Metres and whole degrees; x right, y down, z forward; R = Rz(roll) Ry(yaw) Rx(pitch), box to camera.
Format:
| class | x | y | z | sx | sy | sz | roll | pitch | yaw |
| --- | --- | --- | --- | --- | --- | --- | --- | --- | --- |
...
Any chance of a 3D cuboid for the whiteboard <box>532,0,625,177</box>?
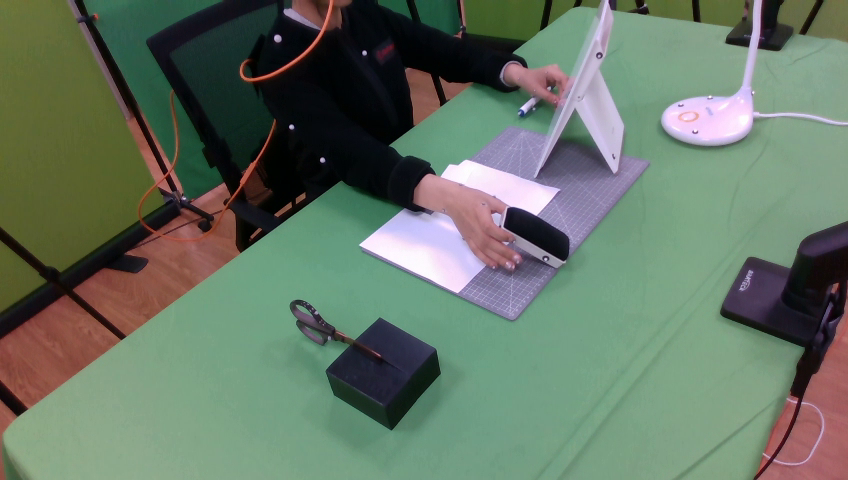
| class | x | y | z | sx | sy | sz | roll | pitch | yaw |
| --- | --- | --- | --- | --- | --- | --- | --- | --- | --- |
| whiteboard | 0.320 | -0.258 | 1.050 | 0.144 | 0.306 | 0.217 | 21 | 45 | 5 |

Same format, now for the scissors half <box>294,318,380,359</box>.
| class | x | y | z | sx | sy | sz | roll | pitch | yaw |
| --- | --- | --- | --- | --- | --- | --- | --- | --- | --- |
| scissors half | -0.118 | 0.135 | 0.809 | 0.173 | 0.040 | 0.013 | 9 | 37 | 44 |

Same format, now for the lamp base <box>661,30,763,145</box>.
| class | x | y | z | sx | sy | sz | roll | pitch | yaw |
| --- | --- | --- | --- | --- | --- | --- | --- | --- | --- |
| lamp base | 0.535 | -0.287 | 1.096 | 0.179 | 0.181 | 0.159 | -10 | 40 | -4 |

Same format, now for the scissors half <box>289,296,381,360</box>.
| class | x | y | z | sx | sy | sz | roll | pitch | yaw |
| --- | --- | --- | --- | --- | --- | --- | --- | --- | --- |
| scissors half | -0.120 | 0.117 | 0.798 | 0.174 | 0.040 | 0.013 | 27 | 43 | 31 |

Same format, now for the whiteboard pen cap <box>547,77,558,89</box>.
| class | x | y | z | sx | sy | sz | roll | pitch | yaw |
| --- | --- | --- | --- | --- | --- | --- | --- | --- | --- |
| whiteboard pen cap | 0.279 | -0.341 | 1.321 | 0.018 | 0.018 | 0.033 | 22 | 52 | 31 |

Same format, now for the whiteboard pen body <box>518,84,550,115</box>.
| class | x | y | z | sx | sy | sz | roll | pitch | yaw |
| --- | --- | --- | --- | --- | --- | --- | --- | --- | --- |
| whiteboard pen body | 0.241 | -0.306 | 1.291 | 0.017 | 0.017 | 0.141 | 22 | 51 | 32 |

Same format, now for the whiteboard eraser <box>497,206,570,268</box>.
| class | x | y | z | sx | sy | sz | roll | pitch | yaw |
| --- | --- | --- | --- | --- | --- | --- | --- | --- | --- |
| whiteboard eraser | 0.166 | -0.008 | 0.903 | 0.113 | 0.042 | 0.055 | 28 | 45 | -8 |
